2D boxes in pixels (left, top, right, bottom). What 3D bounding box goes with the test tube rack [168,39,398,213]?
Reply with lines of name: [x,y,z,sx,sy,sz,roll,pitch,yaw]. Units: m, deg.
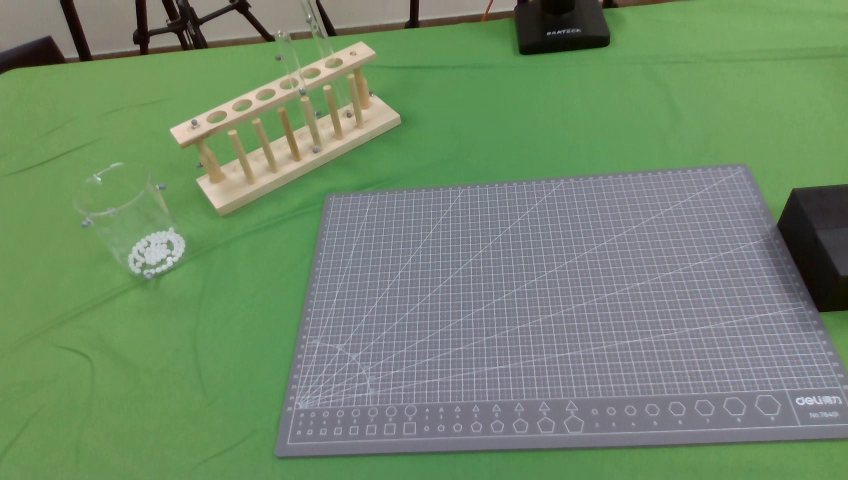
test tube rack: [-0.153,-0.135,0.699,0.242,0.086,0.066,-31,52,-18]

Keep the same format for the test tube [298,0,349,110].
test tube: [-0.113,-0.212,0.694,0.017,0.152,0.017,-7,49,9]

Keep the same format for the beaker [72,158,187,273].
beaker: [-0.293,-0.022,0.611,0.083,0.101,0.074,29,58,30]

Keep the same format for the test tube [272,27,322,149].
test tube: [-0.136,-0.162,0.660,0.017,0.152,0.017,-5,47,6]
